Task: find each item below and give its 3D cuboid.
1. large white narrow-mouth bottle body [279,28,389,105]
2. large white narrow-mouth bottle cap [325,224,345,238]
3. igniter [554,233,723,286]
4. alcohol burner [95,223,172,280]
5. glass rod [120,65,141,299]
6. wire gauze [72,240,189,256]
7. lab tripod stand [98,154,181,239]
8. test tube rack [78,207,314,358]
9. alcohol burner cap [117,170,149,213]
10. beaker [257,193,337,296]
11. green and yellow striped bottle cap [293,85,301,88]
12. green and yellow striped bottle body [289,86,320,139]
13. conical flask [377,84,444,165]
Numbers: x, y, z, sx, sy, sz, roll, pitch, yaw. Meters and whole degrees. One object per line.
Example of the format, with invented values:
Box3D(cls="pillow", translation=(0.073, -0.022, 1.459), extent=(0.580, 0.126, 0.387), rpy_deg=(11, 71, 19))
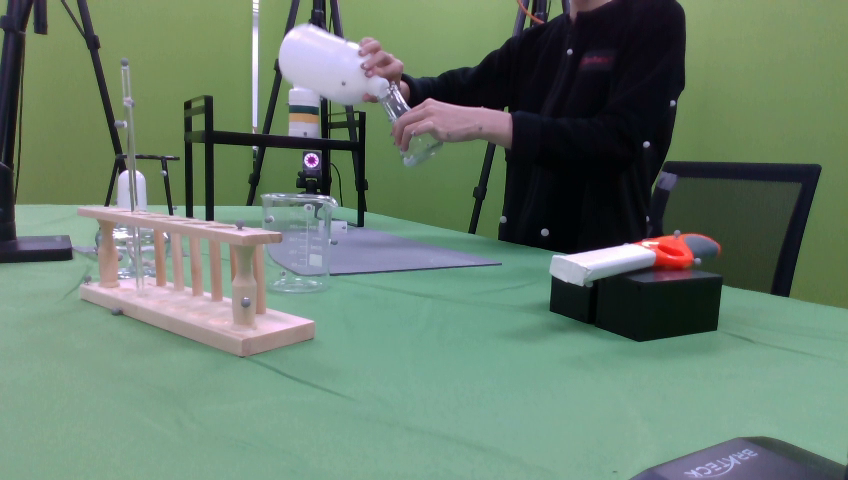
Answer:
Box3D(cls="large white narrow-mouth bottle body", translation=(-0.140, -0.278, 0.997), extent=(0.194, 0.101, 0.102), rpy_deg=(28, 19, 26))
Box3D(cls="large white narrow-mouth bottle cap", translation=(-0.160, -0.017, 1.090), extent=(0.038, 0.024, 0.037), rpy_deg=(3, 9, 0))
Box3D(cls="igniter", translation=(0.214, 0.015, 0.570), extent=(0.278, 0.025, 0.057), rpy_deg=(-5, 22, -44))
Box3D(cls="alcohol burner", translation=(-0.320, -0.017, 0.667), extent=(0.078, 0.119, 0.078), rpy_deg=(0, 7, 0))
Box3D(cls="glass rod", translation=(-0.249, -0.047, 0.513), extent=(0.008, 0.199, 0.008), rpy_deg=(-1, 4, 0))
Box3D(cls="wire gauze", translation=(-0.399, 0.013, 0.820), extent=(0.126, 0.011, 0.121), rpy_deg=(-3, 8, -37))
Box3D(cls="lab tripod stand", translation=(-0.427, -0.066, 0.942), extent=(0.148, 0.131, 0.148), rpy_deg=(1, 6, 0))
Box3D(cls="test tube rack", translation=(-0.196, 0.024, 0.500), extent=(0.241, 0.085, 0.067), rpy_deg=(8, 8, 37))
Box3D(cls="alcohol burner cap", translation=(-0.320, -0.052, 0.661), extent=(0.034, 0.048, 0.034), rpy_deg=(-3, 0, 0))
Box3D(cls="beaker", translation=(-0.130, 0.003, 0.628), extent=(0.084, 0.100, 0.074), rpy_deg=(5, 8, 15))
Box3D(cls="green and yellow striped bottle cap", translation=(-0.248, -0.323, 1.256), extent=(0.045, 0.020, 0.045), rpy_deg=(4, 8, 0))
Box3D(cls="green and yellow striped bottle body", translation=(-0.250, -0.272, 1.261), extent=(0.063, 0.119, 0.063), rpy_deg=(3, 7, 0))
Box3D(cls="conical flask", translation=(-0.028, -0.184, 0.953), extent=(0.075, 0.122, 0.075), rpy_deg=(-32, -3, -2))
